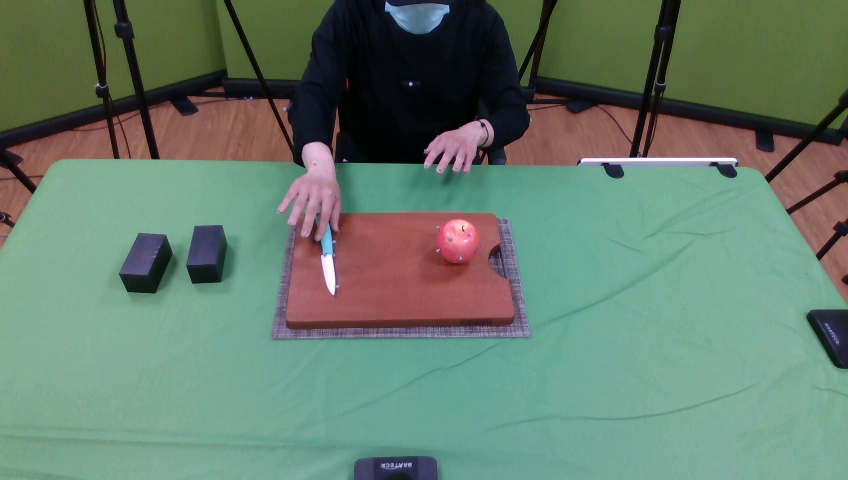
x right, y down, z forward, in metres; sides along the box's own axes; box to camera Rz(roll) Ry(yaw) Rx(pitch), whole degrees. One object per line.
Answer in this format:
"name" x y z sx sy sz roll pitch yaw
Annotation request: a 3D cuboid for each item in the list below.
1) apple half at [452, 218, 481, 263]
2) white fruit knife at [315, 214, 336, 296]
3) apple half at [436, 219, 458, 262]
"apple half" 0.077 0.003 1.122 0.053 0.075 0.080 -1 42 -11
"white fruit knife" -0.180 0.025 1.124 0.027 0.016 0.206 -26 48 10
"apple half" 0.039 0.005 1.115 0.033 0.081 0.080 -2 46 -11
